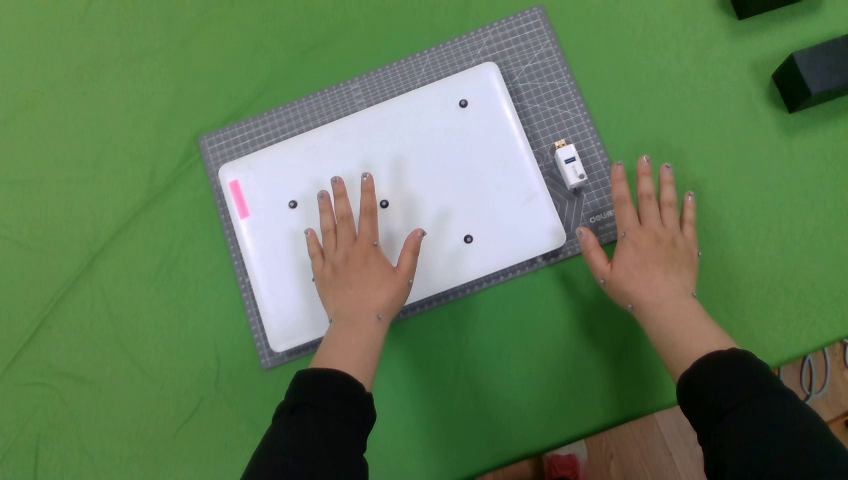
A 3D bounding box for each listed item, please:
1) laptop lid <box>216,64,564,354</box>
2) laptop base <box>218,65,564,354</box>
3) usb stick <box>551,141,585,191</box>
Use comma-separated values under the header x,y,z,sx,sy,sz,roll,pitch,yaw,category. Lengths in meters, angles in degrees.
x,y,z,sx,sy,sz,roll,pitch,yaw,category
-0.046,-0.038,0.688,0.357,0.013,0.240,-20,80,3,laptop lid
-0.046,-0.038,0.699,0.354,0.023,0.234,-21,80,3,laptop base
0.158,-0.086,0.677,0.021,0.027,0.059,-21,74,5,usb stick
